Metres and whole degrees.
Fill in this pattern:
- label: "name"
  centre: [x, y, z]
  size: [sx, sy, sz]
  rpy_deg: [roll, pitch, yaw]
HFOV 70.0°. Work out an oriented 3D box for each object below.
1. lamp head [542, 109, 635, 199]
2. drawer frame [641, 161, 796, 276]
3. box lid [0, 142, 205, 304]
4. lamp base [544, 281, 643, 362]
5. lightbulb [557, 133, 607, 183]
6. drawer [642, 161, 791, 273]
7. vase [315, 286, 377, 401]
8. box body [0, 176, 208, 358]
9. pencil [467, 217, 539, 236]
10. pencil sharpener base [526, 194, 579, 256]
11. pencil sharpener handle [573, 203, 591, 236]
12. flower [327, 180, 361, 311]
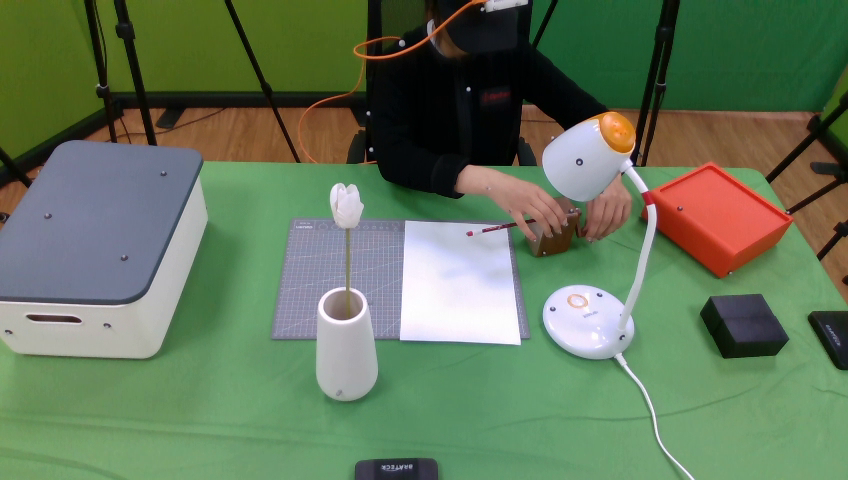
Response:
- label: "lamp head"
  centre: [0.253, -0.131, 0.893]
  size: [0.113, 0.123, 0.112]
  rpy_deg: [10, 66, -24]
- label: "drawer frame"
  centre: [0.599, -0.051, 1.244]
  size: [0.202, 0.083, 0.212]
  rpy_deg: [-24, 53, -25]
- label: "box lid"
  centre: [-0.534, -0.044, 0.995]
  size: [0.263, 0.015, 0.369]
  rpy_deg: [3, 45, -3]
- label: "lamp base"
  centre: [0.303, 0.095, 1.014]
  size: [0.161, 0.181, 0.178]
  rpy_deg: [-24, 54, -24]
- label: "lightbulb"
  centre: [0.242, -0.127, 0.916]
  size: [0.059, 0.108, 0.059]
  rpy_deg: [5, 67, -13]
- label: "drawer"
  centre: [0.596, -0.051, 1.246]
  size: [0.194, 0.073, 0.210]
  rpy_deg: [-23, 52, -25]
- label: "vase"
  centre: [-0.119, 0.159, 0.911]
  size: [0.098, 0.201, 0.097]
  rpy_deg: [2, 47, -2]
- label: "box body"
  centre: [-0.546, 0.017, 1.045]
  size: [0.254, 0.161, 0.361]
  rpy_deg: [2, 46, -2]
- label: "pencil"
  centre: [0.172, -0.031, 1.143]
  size: [0.194, 0.012, 0.012]
  rpy_deg: [-12, 48, -12]
- label: "pencil sharpener base"
  centre: [0.252, -0.028, 1.181]
  size: [0.077, 0.107, 0.061]
  rpy_deg: [-11, 47, -14]
- label: "pencil sharpener handle"
  centre: [0.304, -0.042, 1.175]
  size: [0.031, 0.068, 0.036]
  rpy_deg: [-11, 4, -14]
- label: "flower"
  centre: [-0.111, 0.086, 0.867]
  size: [0.044, 0.363, 0.038]
  rpy_deg: [22, 33, 36]
